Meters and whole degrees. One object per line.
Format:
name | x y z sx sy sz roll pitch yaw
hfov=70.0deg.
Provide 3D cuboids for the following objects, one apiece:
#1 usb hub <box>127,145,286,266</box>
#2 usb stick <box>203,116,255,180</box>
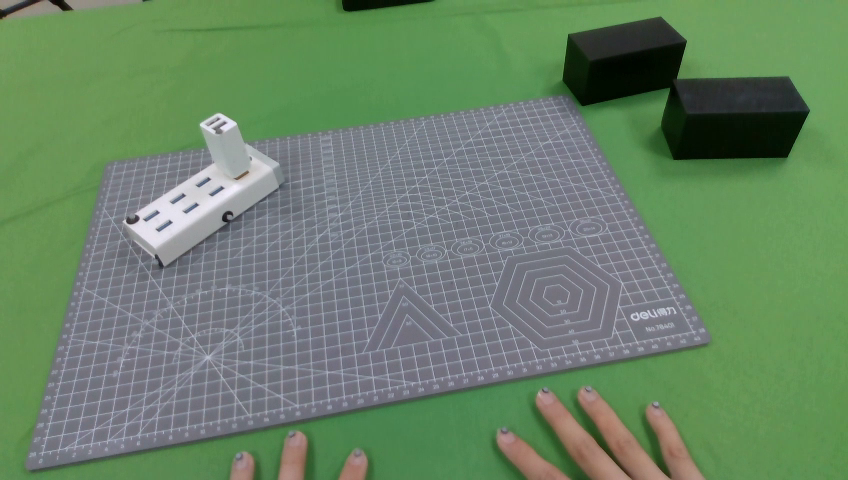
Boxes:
usb hub | -0.180 -0.033 0.511 0.049 0.025 0.125 31 56 28
usb stick | -0.159 -0.071 0.501 0.027 0.060 0.021 27 55 30
